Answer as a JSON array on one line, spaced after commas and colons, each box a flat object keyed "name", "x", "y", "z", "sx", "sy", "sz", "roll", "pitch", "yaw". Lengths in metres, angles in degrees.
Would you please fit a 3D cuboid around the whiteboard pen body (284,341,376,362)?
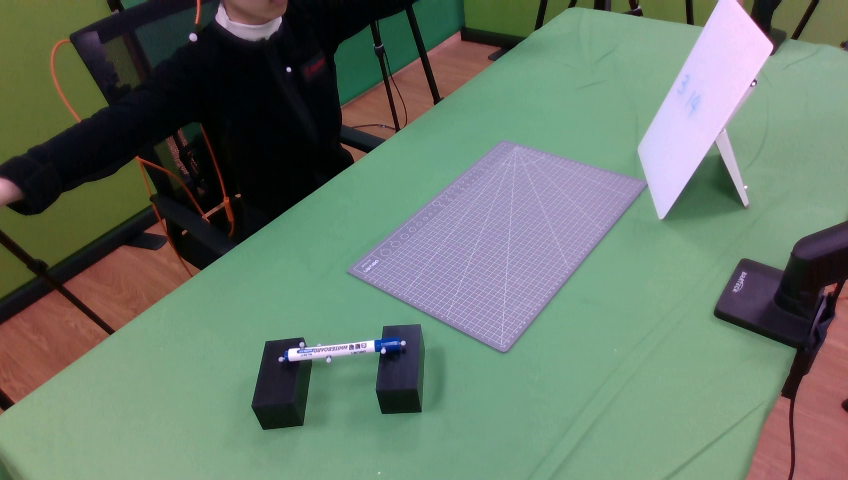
[{"name": "whiteboard pen body", "x": -0.105, "y": 0.138, "z": 0.754, "sx": 0.141, "sy": 0.017, "sz": 0.017, "roll": -6, "pitch": 40, "yaw": 2}]

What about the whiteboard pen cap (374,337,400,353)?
[{"name": "whiteboard pen cap", "x": -0.047, "y": 0.132, "z": 0.753, "sx": 0.033, "sy": 0.018, "sz": 0.018, "roll": -9, "pitch": 40, "yaw": 3}]

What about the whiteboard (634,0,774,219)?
[{"name": "whiteboard", "x": 0.485, "y": -0.192, "z": 0.957, "sx": 0.144, "sy": 0.305, "sz": 0.216, "roll": 14, "pitch": 41, "yaw": -4}]
